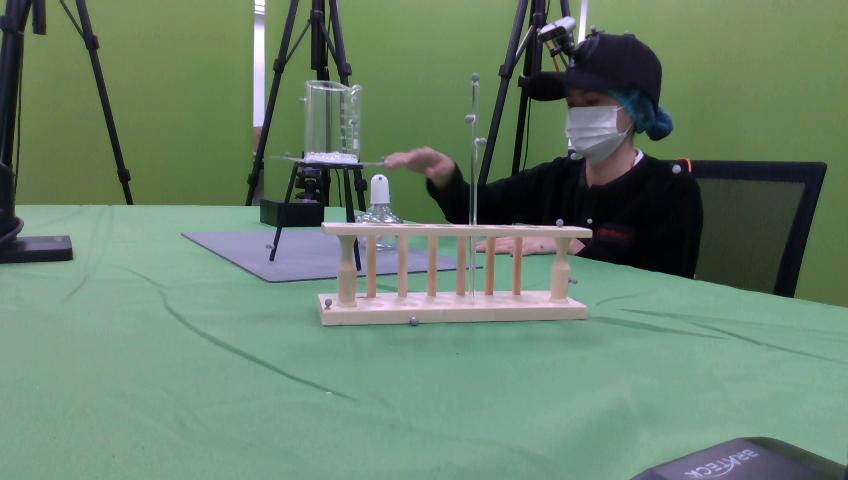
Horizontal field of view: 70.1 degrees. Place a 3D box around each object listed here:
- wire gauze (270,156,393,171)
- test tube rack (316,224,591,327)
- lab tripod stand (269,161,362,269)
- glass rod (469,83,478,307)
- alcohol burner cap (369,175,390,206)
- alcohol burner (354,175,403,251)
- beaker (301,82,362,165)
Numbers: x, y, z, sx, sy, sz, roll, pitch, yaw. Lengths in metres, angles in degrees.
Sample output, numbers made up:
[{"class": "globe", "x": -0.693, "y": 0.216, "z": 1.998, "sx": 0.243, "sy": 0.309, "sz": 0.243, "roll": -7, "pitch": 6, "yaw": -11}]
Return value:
[{"class": "wire gauze", "x": -0.122, "y": -0.100, "z": 0.786, "sx": 0.122, "sy": 0.011, "sz": 0.124, "roll": -5, "pitch": 14, "yaw": -38}, {"class": "test tube rack", "x": 0.026, "y": 0.028, "z": 0.555, "sx": 0.243, "sy": 0.085, "sz": 0.066, "roll": 1, "pitch": 7, "yaw": -14}, {"class": "lab tripod stand", "x": -0.125, "y": -0.036, "z": 0.794, "sx": 0.148, "sy": 0.131, "sz": 0.148, "roll": 5, "pitch": 7, "yaw": 0}, {"class": "glass rod", "x": 0.043, "y": -0.033, "z": 0.523, "sx": 0.008, "sy": 0.199, "sz": 0.008, "roll": -1, "pitch": 14, "yaw": 1}, {"class": "alcohol burner cap", "x": -0.069, "y": -0.077, "z": 0.939, "sx": 0.034, "sy": 0.048, "sz": 0.034, "roll": -1, "pitch": 6, "yaw": 0}, {"class": "alcohol burner", "x": -0.072, "y": -0.042, "z": 0.944, "sx": 0.078, "sy": 0.119, "sz": 0.078, "roll": 1, "pitch": 9, "yaw": 0}, {"class": "beaker", "x": -0.117, "y": -0.147, "z": 0.776, "sx": 0.074, "sy": 0.100, "sz": 0.083, "roll": -3, "pitch": 10, "yaw": -38}]
